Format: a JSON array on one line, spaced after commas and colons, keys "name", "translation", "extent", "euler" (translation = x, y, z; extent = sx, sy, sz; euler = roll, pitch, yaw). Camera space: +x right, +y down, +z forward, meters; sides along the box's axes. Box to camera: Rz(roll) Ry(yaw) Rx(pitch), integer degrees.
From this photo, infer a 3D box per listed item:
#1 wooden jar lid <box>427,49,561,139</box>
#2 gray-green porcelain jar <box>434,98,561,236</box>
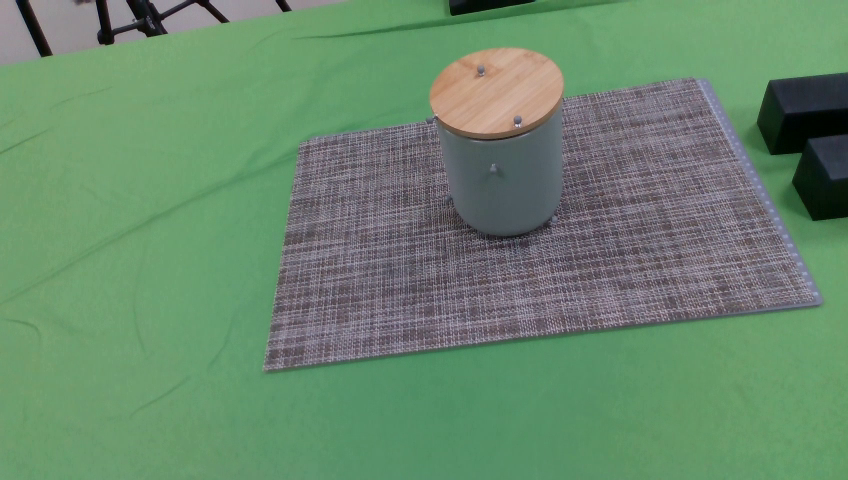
[{"name": "wooden jar lid", "translation": [0.057, -0.117, 0.494], "extent": [0.108, 0.021, 0.107], "euler": [-6, 52, 8]}, {"name": "gray-green porcelain jar", "translation": [0.069, -0.075, 0.542], "extent": [0.106, 0.128, 0.105], "euler": [-6, 49, 8]}]
